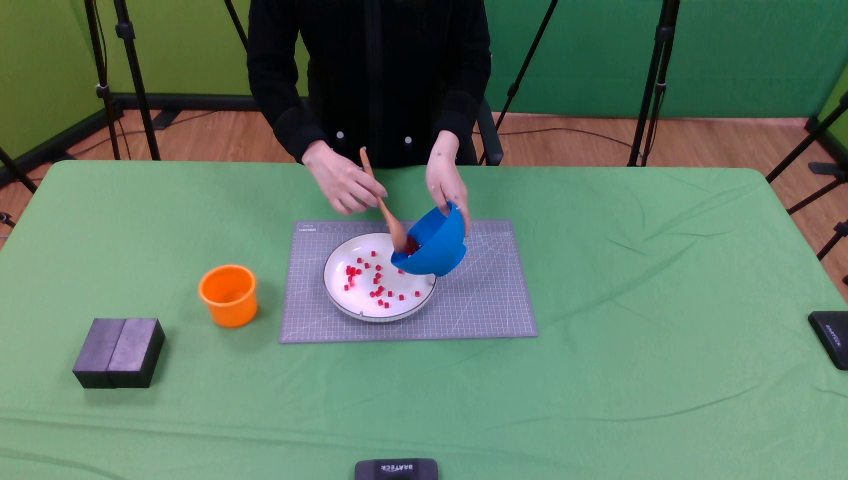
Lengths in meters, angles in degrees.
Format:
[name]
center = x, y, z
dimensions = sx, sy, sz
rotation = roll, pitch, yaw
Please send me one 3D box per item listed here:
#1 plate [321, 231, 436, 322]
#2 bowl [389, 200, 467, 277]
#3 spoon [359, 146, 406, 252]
[plate]
center = -0.083, 0.070, 1.109
dimensions = 0.209, 0.038, 0.208
rotation = 3, 46, -3
[bowl]
center = 0.020, 0.011, 1.043
dimensions = 0.077, 0.151, 0.151
rotation = 45, 48, -15
[spoon]
center = -0.072, -0.067, 1.024
dimensions = 0.021, 0.194, 0.041
rotation = -12, 21, 38
